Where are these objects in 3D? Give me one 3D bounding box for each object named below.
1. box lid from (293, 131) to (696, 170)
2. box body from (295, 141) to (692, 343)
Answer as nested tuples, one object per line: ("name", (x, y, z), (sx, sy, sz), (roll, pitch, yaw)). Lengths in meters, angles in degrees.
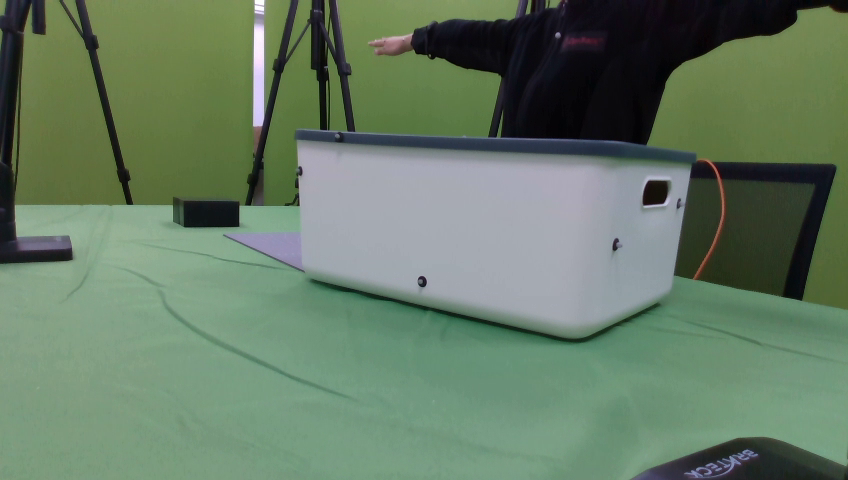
("box lid", (0.069, -0.094, 0.645), (0.369, 0.015, 0.265), (9, 9, 37))
("box body", (0.065, -0.020, 0.653), (0.362, 0.160, 0.255), (9, 9, 37))
